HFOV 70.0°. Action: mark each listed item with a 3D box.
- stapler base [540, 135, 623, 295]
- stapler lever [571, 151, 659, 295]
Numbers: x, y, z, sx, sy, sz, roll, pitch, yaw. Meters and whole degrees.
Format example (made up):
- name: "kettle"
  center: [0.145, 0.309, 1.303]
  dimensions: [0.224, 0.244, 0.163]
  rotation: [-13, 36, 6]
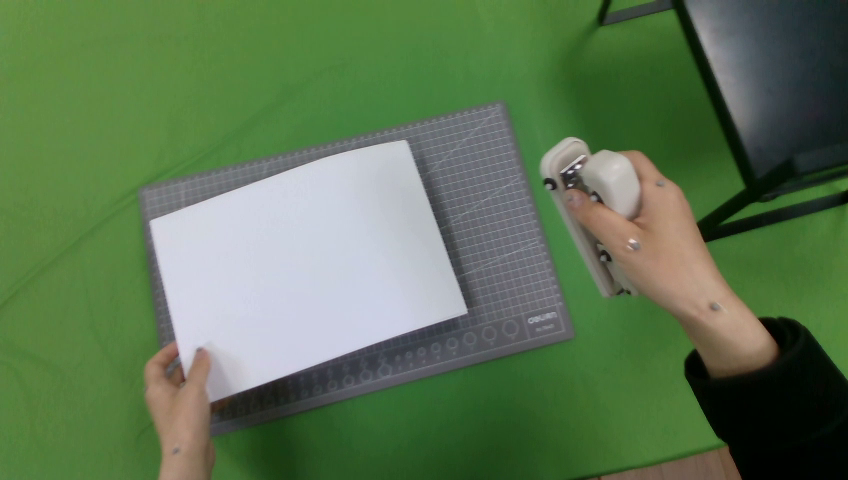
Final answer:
- name: "stapler base"
  center: [0.130, -0.015, 0.446]
  dimensions: [0.041, 0.024, 0.131]
  rotation: [-36, 115, -8]
- name: "stapler lever"
  center: [0.139, -0.009, 0.426]
  dimensions: [0.027, 0.040, 0.119]
  rotation: [-36, 113, -8]
